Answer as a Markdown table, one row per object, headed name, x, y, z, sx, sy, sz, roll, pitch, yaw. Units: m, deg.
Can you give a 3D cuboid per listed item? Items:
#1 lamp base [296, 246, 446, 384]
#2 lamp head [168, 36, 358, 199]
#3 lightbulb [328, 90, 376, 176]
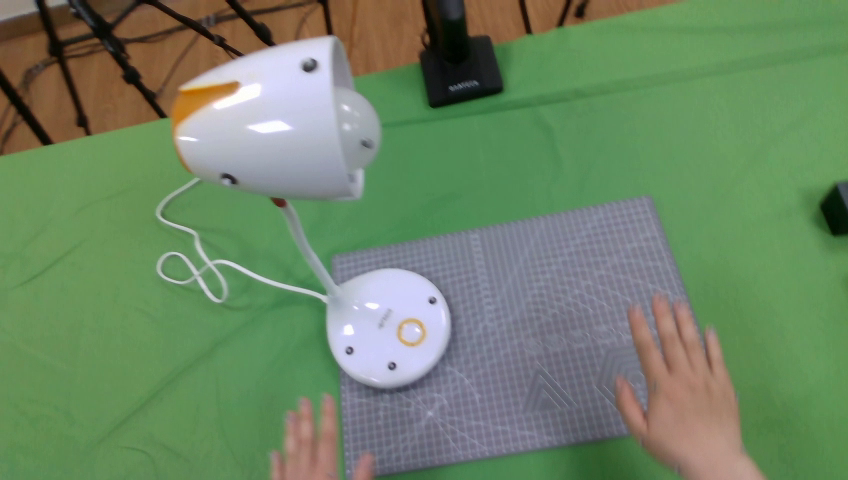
| name | x | y | z | sx | sy | sz | roll | pitch | yaw |
| --- | --- | --- | --- | --- | --- | --- | --- | --- | --- |
| lamp base | -0.075 | 0.070 | 0.716 | 0.178 | 0.182 | 0.159 | 12 | 66 | 18 |
| lamp head | -0.111 | -0.078 | 0.428 | 0.123 | 0.113 | 0.111 | -7 | 63 | 7 |
| lightbulb | -0.087 | -0.070 | 0.423 | 0.107 | 0.060 | 0.059 | -9 | 63 | 6 |
